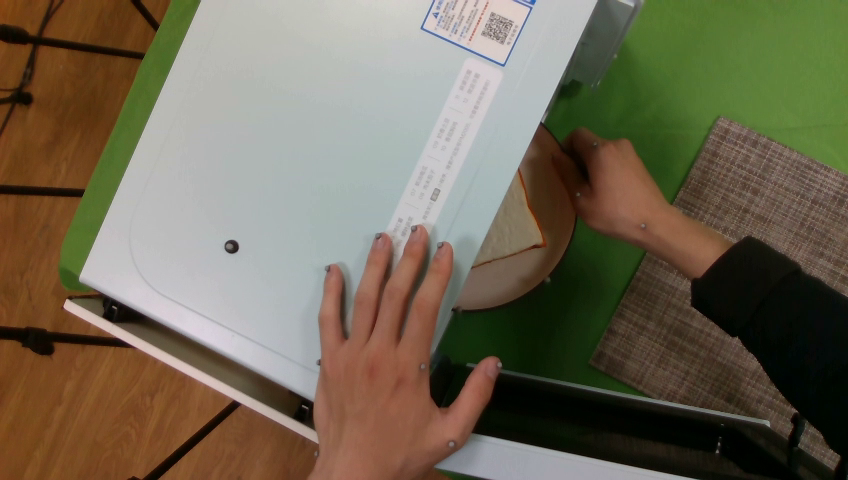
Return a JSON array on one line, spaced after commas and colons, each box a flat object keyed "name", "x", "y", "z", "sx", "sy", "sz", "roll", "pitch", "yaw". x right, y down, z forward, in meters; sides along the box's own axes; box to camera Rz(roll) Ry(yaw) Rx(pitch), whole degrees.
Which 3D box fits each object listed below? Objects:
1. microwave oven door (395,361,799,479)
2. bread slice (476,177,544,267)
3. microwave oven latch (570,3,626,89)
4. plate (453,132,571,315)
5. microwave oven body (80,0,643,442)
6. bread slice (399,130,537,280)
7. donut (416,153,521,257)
[{"name": "microwave oven door", "x": 0.167, "y": 0.175, "z": 0.530, "sx": 0.355, "sy": 0.244, "sz": 0.039, "roll": 9, "pitch": 90, "yaw": 7}, {"name": "bread slice", "x": 0.035, "y": -0.039, "z": 0.537, "sx": 0.105, "sy": 0.019, "sz": 0.131, "roll": -20, "pitch": 89, "yaw": 7}, {"name": "microwave oven latch", "x": 0.181, "y": -0.201, "z": 0.632, "sx": 0.030, "sy": 0.029, "sz": 0.079, "roll": 26, "pitch": 93, "yaw": 6}, {"name": "plate", "x": 0.037, "y": -0.031, "z": 0.593, "sx": 0.207, "sy": 0.039, "sz": 0.207, "roll": 0, "pitch": 91, "yaw": 1}, {"name": "microwave oven body", "x": -0.040, "y": -0.106, "z": 0.560, "sx": 0.325, "sy": 0.260, "sz": 0.441, "roll": 25, "pitch": 93, "yaw": 6}, {"name": "bread slice", "x": 0.034, "y": -0.038, "z": 0.591, "sx": 0.107, "sy": 0.018, "sz": 0.134, "roll": -24, "pitch": 89, "yaw": 0}, {"name": "donut", "x": 0.041, "y": -0.033, "z": 0.567, "sx": 0.099, "sy": 0.048, "sz": 0.099, "roll": 0, "pitch": 93, "yaw": 1}]
